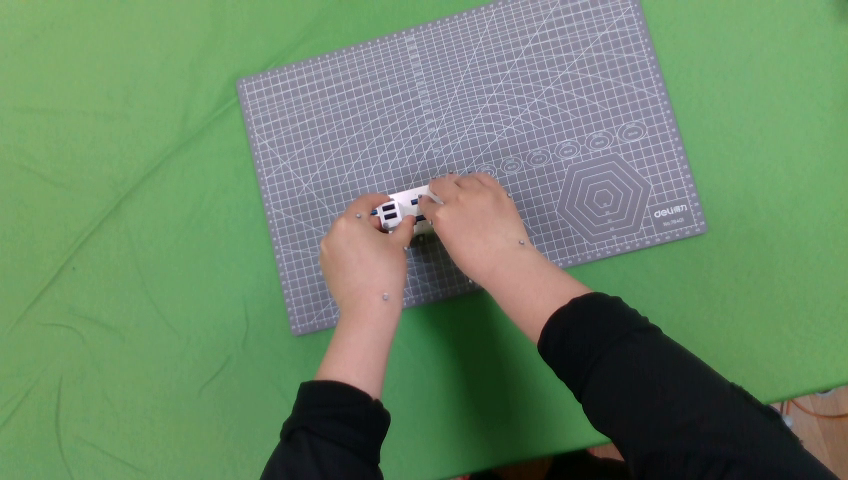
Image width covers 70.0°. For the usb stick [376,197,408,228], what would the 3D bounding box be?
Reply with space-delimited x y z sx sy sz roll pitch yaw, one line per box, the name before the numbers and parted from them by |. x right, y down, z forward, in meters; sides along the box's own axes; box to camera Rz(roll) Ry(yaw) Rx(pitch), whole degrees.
usb stick | -0.031 -0.026 0.615 0.021 0.059 0.027 -17 84 6

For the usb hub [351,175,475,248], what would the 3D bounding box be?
usb hub | -0.012 -0.031 0.644 0.125 0.025 0.049 -14 83 6
